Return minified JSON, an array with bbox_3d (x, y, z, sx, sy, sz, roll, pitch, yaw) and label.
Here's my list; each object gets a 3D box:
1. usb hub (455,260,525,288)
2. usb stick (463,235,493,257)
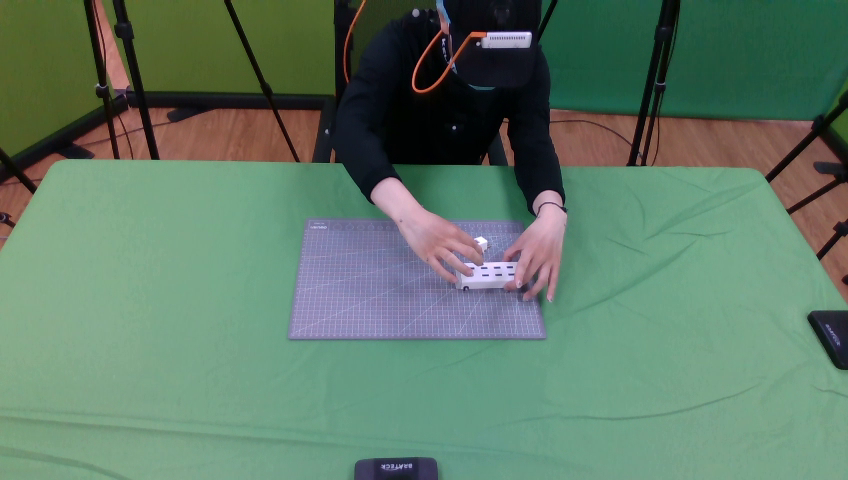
[{"bbox_3d":[0.122,0.064,1.134,0.125,0.025,0.049,-2,47,-6],"label":"usb hub"},{"bbox_3d":[0.100,0.009,1.099,0.059,0.027,0.021,-15,34,-31],"label":"usb stick"}]
